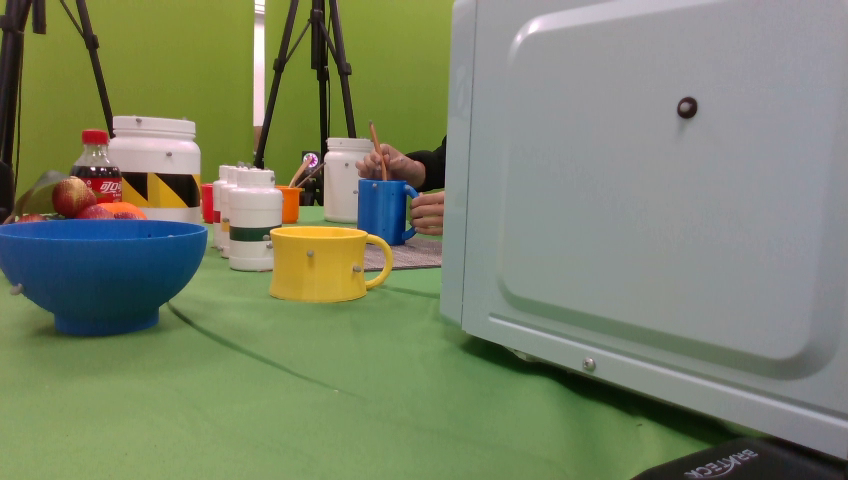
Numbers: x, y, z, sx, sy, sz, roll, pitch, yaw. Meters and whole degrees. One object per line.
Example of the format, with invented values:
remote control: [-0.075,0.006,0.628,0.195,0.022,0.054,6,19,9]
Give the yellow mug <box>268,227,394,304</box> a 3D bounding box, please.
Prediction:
yellow mug: [-0.094,0.023,0.629,0.131,0.064,0.099,0,7,-22]

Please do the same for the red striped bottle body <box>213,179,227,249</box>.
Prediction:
red striped bottle body: [-0.284,-0.048,0.909,0.063,0.119,0.063,3,10,0]

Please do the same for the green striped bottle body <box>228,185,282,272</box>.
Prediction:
green striped bottle body: [-0.208,-0.023,0.745,0.063,0.119,0.063,2,7,0]

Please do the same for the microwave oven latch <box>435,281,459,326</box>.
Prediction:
microwave oven latch: [0.044,0.046,0.470,0.079,0.029,0.030,-3,8,-40]

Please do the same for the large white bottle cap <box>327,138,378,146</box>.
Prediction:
large white bottle cap: [-0.160,-0.218,1.357,0.115,0.018,0.115,2,8,0]

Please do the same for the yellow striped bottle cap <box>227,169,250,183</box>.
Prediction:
yellow striped bottle cap: [-0.243,-0.086,0.818,0.044,0.018,0.044,3,7,0]

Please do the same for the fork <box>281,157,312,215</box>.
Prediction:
fork: [-0.289,-0.116,1.321,0.028,0.019,0.207,6,51,19]

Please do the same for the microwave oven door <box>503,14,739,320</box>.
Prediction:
microwave oven door: [0.218,-0.065,0.600,0.358,0.243,0.039,-4,10,-41]

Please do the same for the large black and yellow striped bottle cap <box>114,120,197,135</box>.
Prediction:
large black and yellow striped bottle cap: [-0.407,-0.171,0.920,0.115,0.019,0.115,2,9,0]

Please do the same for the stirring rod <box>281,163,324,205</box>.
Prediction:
stirring rod: [-0.278,-0.105,1.293,0.176,0.006,0.014,-47,25,-18]

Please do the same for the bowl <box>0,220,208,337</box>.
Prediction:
bowl: [-0.251,0.029,0.479,0.151,0.077,0.151,2,7,0]

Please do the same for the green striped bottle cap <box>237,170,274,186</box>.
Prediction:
green striped bottle cap: [-0.205,-0.075,0.737,0.044,0.020,0.044,2,5,0]

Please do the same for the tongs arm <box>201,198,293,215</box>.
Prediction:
tongs arm: [-0.423,-0.084,1.472,0.050,0.026,0.386,2,6,21]

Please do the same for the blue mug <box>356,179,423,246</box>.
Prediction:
blue mug: [-0.056,-0.046,1.005,0.116,0.106,0.082,6,8,22]

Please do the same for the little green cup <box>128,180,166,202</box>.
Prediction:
little green cup: [-0.485,-0.087,1.062,0.061,0.038,0.061,0,6,0]

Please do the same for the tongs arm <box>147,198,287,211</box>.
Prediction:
tongs arm: [-0.504,-0.091,1.513,0.028,0.028,0.389,-1,4,37]

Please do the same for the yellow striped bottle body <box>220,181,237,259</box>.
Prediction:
yellow striped bottle body: [-0.246,-0.036,0.825,0.063,0.120,0.063,3,8,0]

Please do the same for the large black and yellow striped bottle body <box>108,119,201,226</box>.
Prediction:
large black and yellow striped bottle body: [-0.412,-0.088,0.930,0.131,0.184,0.130,3,7,0]

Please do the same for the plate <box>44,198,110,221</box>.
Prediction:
plate: [-0.617,-0.056,1.179,0.209,0.038,0.209,3,7,0]

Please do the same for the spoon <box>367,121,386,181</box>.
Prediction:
spoon: [-0.071,-0.106,1.009,0.021,0.193,0.042,-10,-5,8]

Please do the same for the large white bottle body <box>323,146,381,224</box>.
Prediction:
large white bottle body: [-0.163,-0.134,1.369,0.131,0.184,0.130,2,8,0]

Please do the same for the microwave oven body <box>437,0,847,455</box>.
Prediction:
microwave oven body: [0.279,-0.040,0.464,0.444,0.260,0.324,-3,9,-41]

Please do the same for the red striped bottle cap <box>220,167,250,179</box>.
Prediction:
red striped bottle cap: [-0.281,-0.100,0.901,0.044,0.017,0.044,-1,5,0]
